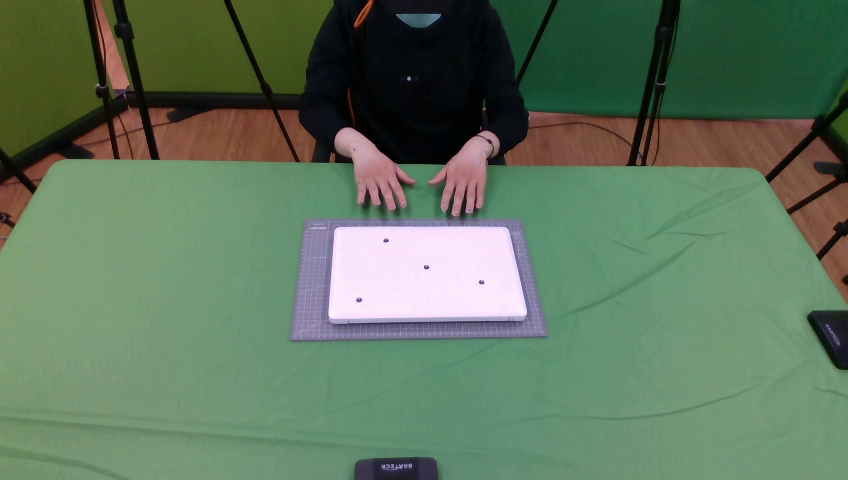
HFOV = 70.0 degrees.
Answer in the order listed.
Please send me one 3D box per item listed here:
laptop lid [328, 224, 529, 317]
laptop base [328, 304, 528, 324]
[{"bbox_3d":[0.005,0.051,1.130,0.357,0.013,0.240,1,44,-3],"label":"laptop lid"},{"bbox_3d":[0.005,0.061,1.137,0.355,0.023,0.234,0,43,-4],"label":"laptop base"}]
